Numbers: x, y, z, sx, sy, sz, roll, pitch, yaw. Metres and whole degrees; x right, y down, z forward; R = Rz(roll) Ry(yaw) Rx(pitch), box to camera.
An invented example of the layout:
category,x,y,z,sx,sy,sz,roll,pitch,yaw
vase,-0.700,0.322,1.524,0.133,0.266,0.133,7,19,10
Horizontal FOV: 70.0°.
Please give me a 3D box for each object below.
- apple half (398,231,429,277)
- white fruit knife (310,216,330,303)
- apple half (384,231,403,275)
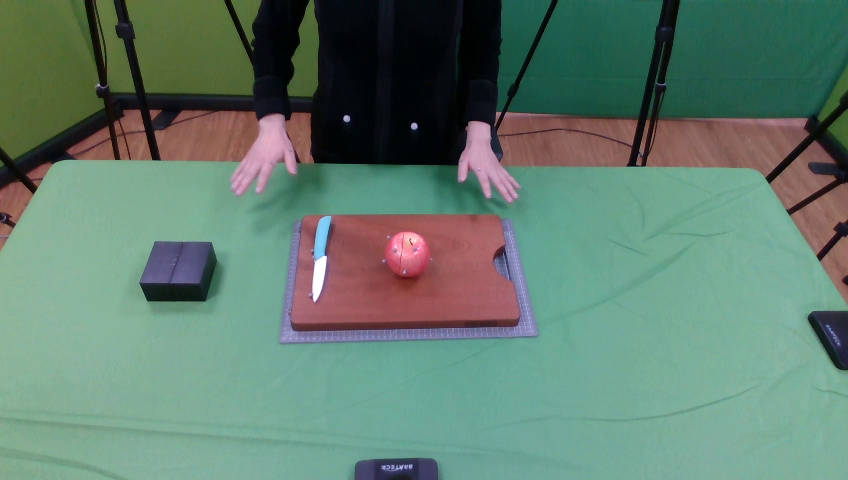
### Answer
category,x,y,z,sx,sy,sz,roll,pitch,yaw
apple half,-0.018,0.028,1.095,0.053,0.075,0.080,6,42,-4
white fruit knife,-0.194,0.032,1.116,0.027,0.016,0.206,-8,47,7
apple half,-0.056,0.025,1.093,0.033,0.081,0.081,5,46,-2
